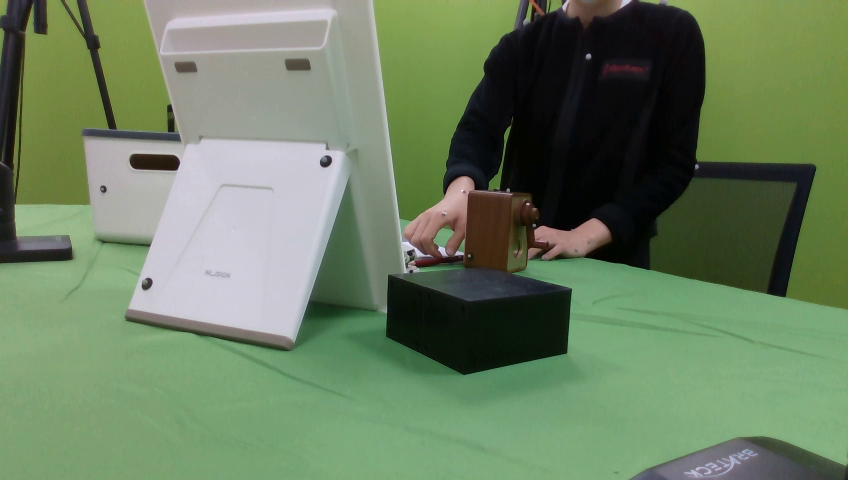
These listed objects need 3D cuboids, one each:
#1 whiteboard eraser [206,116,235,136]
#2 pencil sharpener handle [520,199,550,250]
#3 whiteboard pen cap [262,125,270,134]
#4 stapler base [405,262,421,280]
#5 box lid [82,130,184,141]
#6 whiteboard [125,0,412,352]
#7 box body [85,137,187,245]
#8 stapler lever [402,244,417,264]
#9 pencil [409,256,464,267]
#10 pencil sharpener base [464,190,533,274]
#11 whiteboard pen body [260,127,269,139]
[{"bbox_3d":[-0.450,-0.252,1.335,0.056,0.042,0.112,1,7,-22],"label":"whiteboard eraser"},{"bbox_3d":[0.147,-0.019,0.785,0.030,0.068,0.036,8,25,36],"label":"pencil sharpener handle"},{"bbox_3d":[-0.349,-0.244,1.337,0.018,0.018,0.033,0,2,-17],"label":"whiteboard pen cap"},{"bbox_3d":[-0.069,0.027,0.759,0.130,0.024,0.041,9,13,23],"label":"stapler base"},{"bbox_3d":[-0.337,-0.161,1.011,0.263,0.015,0.372,4,6,11],"label":"box lid"},{"bbox_3d":[-0.151,-0.049,0.472,0.216,0.305,0.144,6,27,24],"label":"whiteboard"},{"bbox_3d":[-0.340,-0.088,1.022,0.254,0.160,0.364,4,7,11],"label":"box body"},{"bbox_3d":[-0.066,0.003,0.755,0.117,0.040,0.027,9,13,23],"label":"stapler lever"},{"bbox_3d":[0.042,0.027,0.848,0.012,0.012,0.195,10,10,43],"label":"pencil"},{"bbox_3d":[0.103,-0.012,0.813,0.076,0.107,0.061,8,9,36],"label":"pencil sharpener base"},{"bbox_3d":[-0.366,-0.247,1.392,0.017,0.017,0.140,0,3,-17],"label":"whiteboard pen body"}]
